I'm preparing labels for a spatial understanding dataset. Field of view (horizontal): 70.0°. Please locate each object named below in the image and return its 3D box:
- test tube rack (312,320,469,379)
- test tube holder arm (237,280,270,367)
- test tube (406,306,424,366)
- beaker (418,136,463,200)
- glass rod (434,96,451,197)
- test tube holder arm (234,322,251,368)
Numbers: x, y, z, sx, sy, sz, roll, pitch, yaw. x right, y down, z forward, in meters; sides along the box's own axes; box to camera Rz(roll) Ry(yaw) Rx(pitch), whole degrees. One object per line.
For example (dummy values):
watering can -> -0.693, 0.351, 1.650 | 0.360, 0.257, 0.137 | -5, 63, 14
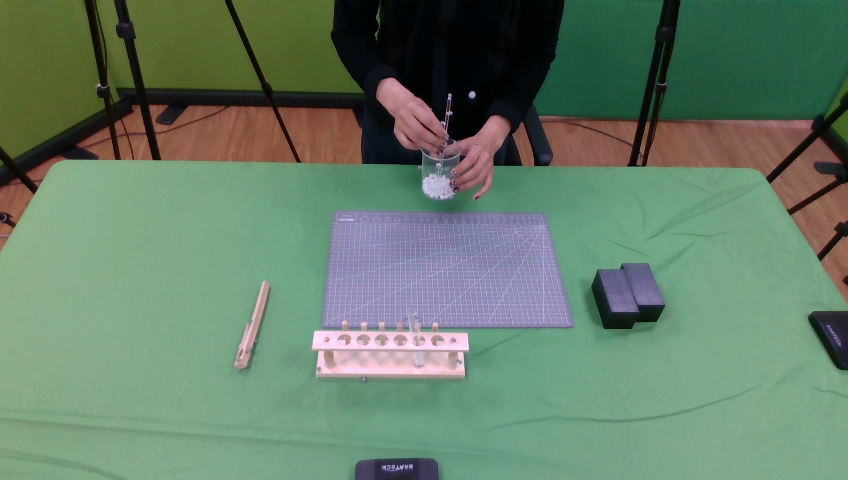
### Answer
test tube rack -> -0.054, 0.173, 0.984 | 0.242, 0.085, 0.066 | 1, 46, -3
test tube holder arm -> -0.291, 0.140, 1.042 | 0.013, 0.015, 0.177 | -17, 41, 22
test tube -> -0.013, 0.152, 0.939 | 0.017, 0.151, 0.017 | -3, 48, 3
beaker -> 0.028, -0.133, 1.140 | 0.084, 0.101, 0.073 | 12, 43, 12
glass rod -> 0.033, -0.164, 1.091 | 0.008, 0.200, 0.008 | 5, 35, -3
test tube holder arm -> -0.299, 0.173, 1.013 | 0.010, 0.015, 0.087 | -17, 41, 22
